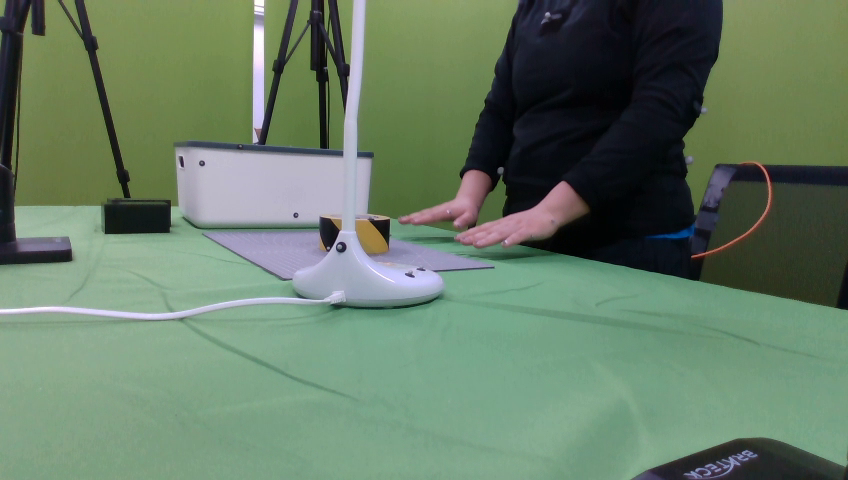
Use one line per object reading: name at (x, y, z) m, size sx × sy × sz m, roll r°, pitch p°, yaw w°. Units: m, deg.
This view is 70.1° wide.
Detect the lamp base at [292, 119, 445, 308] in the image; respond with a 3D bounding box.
lamp base at (-0.056, -0.030, 0.616) m, size 0.160 × 0.180 × 0.179 m, roll 3°, pitch 10°, yaw 8°

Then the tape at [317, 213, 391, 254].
tape at (-0.109, -0.012, 0.938) m, size 0.117 × 0.052 × 0.117 m, roll 2°, pitch 7°, yaw 0°

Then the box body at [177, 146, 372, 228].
box body at (-0.319, -0.118, 1.280) m, size 0.366 × 0.160 × 0.253 m, roll -1°, pitch 8°, yaw -29°

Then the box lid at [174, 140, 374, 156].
box lid at (-0.318, -0.190, 1.270) m, size 0.373 × 0.015 × 0.262 m, roll -1°, pitch 8°, yaw -29°
